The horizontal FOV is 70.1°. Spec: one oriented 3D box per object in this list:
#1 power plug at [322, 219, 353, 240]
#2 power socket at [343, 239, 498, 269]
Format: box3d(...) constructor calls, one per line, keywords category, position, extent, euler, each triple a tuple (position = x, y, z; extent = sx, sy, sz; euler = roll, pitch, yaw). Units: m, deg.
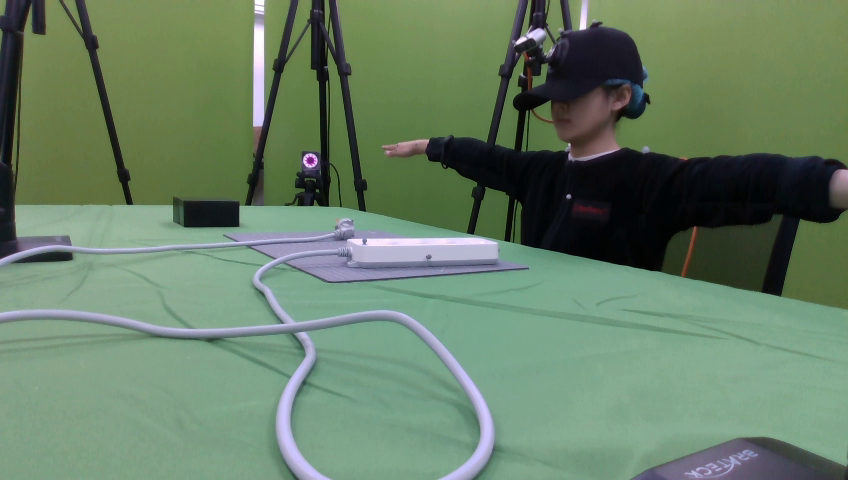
box3d(category="power plug", position=(-0.153, -0.023, 1.041), extent=(0.052, 0.035, 0.073), euler=(31, 12, 39))
box3d(category="power socket", position=(-0.002, 0.018, 0.829), extent=(0.228, 0.032, 0.072), euler=(0, 7, -23))
